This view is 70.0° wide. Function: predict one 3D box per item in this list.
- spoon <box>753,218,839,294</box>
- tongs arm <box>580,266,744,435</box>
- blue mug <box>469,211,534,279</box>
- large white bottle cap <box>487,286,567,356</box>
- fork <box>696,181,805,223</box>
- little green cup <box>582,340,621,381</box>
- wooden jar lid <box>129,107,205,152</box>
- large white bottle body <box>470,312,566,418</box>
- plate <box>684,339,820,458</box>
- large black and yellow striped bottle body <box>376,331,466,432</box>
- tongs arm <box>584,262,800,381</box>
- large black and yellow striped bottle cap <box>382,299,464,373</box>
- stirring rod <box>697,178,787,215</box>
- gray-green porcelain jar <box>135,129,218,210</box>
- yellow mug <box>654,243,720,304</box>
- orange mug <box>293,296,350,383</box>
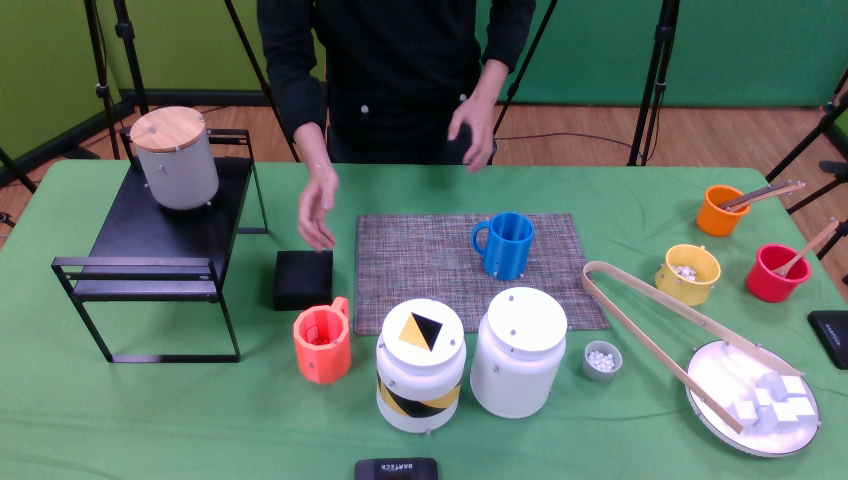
[{"bbox_3d":[0.700,0.031,1.138,0.194,0.022,0.041,-47,55,14],"label":"spoon"},{"bbox_3d":[0.384,0.174,1.029,0.028,0.028,0.385,-25,46,-14],"label":"tongs arm"},{"bbox_3d":[0.141,0.005,1.140,0.116,0.106,0.082,18,48,13],"label":"blue mug"},{"bbox_3d":[0.147,0.114,0.869,0.115,0.018,0.114,3,46,-3],"label":"large white bottle cap"},{"bbox_3d":[0.659,-0.077,1.232,0.207,0.019,0.028,-26,36,34],"label":"fork"},{"bbox_3d":[0.295,0.204,1.014,0.061,0.039,0.061,2,45,-2],"label":"little green cup"},{"bbox_3d":[-0.385,-0.163,0.915,0.108,0.021,0.107,2,47,-2],"label":"wooden jar lid"},{"bbox_3d":[0.143,0.173,0.930,0.131,0.185,0.130,2,46,-2],"label":"large white bottle body"},{"bbox_3d":[0.523,0.256,0.983,0.208,0.039,0.206,2,46,-2],"label":"plate"},{"bbox_3d":[-0.007,0.189,0.905,0.131,0.185,0.130,2,46,-2],"label":"large black and yellow striped bottle body"},{"bbox_3d":[0.452,0.137,1.064,0.051,0.027,0.382,-34,50,-27],"label":"tongs arm"},{"bbox_3d":[-0.002,0.132,0.843,0.115,0.019,0.114,2,46,-1],"label":"large black and yellow striped bottle cap"},{"bbox_3d":[0.650,-0.088,1.245,0.006,0.176,0.014,29,50,-39],"label":"stirring rod"},{"bbox_3d":[-0.388,-0.120,0.960,0.106,0.127,0.105,2,46,-2],"label":"gray-green porcelain jar"},{"bbox_3d":[0.504,0.054,1.154,0.099,0.064,0.130,28,50,22],"label":"yellow mug"},{"bbox_3d":[-0.157,0.154,0.985,0.083,0.101,0.125,17,52,11],"label":"orange mug"}]
